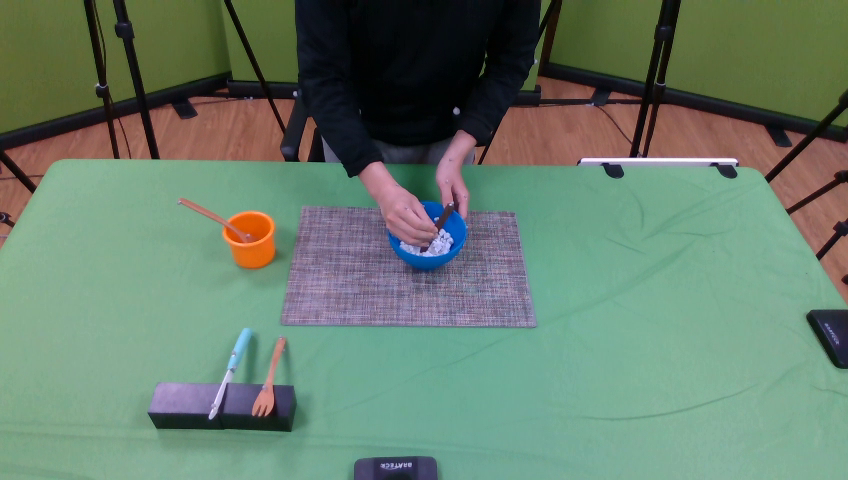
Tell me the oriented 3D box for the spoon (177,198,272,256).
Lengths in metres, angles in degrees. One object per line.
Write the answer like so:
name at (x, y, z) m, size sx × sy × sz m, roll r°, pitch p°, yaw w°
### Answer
spoon at (-0.361, -0.025, 1.106) m, size 0.021 × 0.195 × 0.041 m, roll -32°, pitch 37°, yaw 28°

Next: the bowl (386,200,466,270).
bowl at (0.001, 0.003, 1.150) m, size 0.151 × 0.077 × 0.150 m, roll 2°, pitch 46°, yaw -2°

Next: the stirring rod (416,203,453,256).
stirring rod at (0.016, -0.015, 1.079) m, size 0.014 × 0.176 × 0.006 m, roll 23°, pitch 54°, yaw -5°

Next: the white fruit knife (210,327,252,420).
white fruit knife at (-0.298, 0.200, 0.937) m, size 0.016 × 0.027 × 0.206 m, roll 0°, pitch 30°, yaw 0°

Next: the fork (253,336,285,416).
fork at (-0.235, 0.206, 0.938) m, size 0.028 × 0.019 × 0.206 m, roll -3°, pitch 26°, yaw -3°
